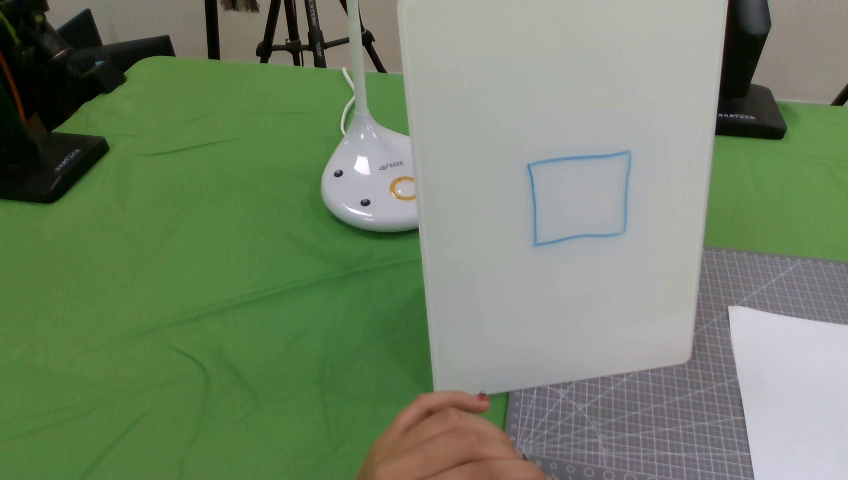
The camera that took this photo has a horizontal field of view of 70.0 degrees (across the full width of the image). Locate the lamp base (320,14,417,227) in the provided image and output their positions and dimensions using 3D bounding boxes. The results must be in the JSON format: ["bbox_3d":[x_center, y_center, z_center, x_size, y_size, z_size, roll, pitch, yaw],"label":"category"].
[{"bbox_3d":[-0.047,-0.132,0.639,0.161,0.182,0.177,-28,46,-25],"label":"lamp base"}]

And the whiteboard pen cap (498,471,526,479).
[{"bbox_3d":[0.055,0.137,0.322,0.033,0.018,0.018,12,44,28],"label":"whiteboard pen cap"}]

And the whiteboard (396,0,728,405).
[{"bbox_3d":[0.094,-0.048,0.494,0.217,0.307,0.142,-7,24,-5],"label":"whiteboard"}]
